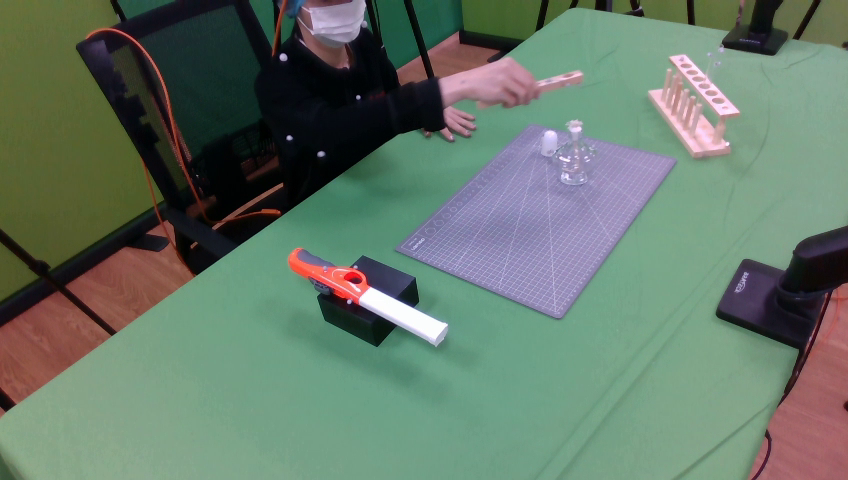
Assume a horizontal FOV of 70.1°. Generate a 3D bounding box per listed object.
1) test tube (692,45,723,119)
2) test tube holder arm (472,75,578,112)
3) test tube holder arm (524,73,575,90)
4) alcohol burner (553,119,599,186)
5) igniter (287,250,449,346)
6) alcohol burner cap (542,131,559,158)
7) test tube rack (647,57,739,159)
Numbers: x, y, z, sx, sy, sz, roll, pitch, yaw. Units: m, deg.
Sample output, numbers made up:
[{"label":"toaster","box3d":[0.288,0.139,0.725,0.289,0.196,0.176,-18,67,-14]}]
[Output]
[{"label":"test tube","box3d":[0.517,-0.285,1.106,0.017,0.151,0.017,-2,46,3]},{"label":"test tube holder arm","box3d":[0.164,-0.239,0.985,0.179,0.015,0.013,-17,40,-3]},{"label":"test tube holder arm","box3d":[0.207,-0.255,0.992,0.088,0.015,0.010,-17,40,-3]},{"label":"alcohol burner","box3d":[0.261,-0.153,1.042,0.078,0.119,0.077,-6,40,6]},{"label":"igniter","box3d":[-0.087,0.073,0.825,0.274,0.025,0.057,23,48,27]},{"label":"alcohol burner cap","box3d":[0.237,-0.180,1.134,0.034,0.048,0.033,-5,41,5]},{"label":"test tube rack","box3d":[0.504,-0.257,1.153,0.067,0.085,0.241,-8,40,1]}]
